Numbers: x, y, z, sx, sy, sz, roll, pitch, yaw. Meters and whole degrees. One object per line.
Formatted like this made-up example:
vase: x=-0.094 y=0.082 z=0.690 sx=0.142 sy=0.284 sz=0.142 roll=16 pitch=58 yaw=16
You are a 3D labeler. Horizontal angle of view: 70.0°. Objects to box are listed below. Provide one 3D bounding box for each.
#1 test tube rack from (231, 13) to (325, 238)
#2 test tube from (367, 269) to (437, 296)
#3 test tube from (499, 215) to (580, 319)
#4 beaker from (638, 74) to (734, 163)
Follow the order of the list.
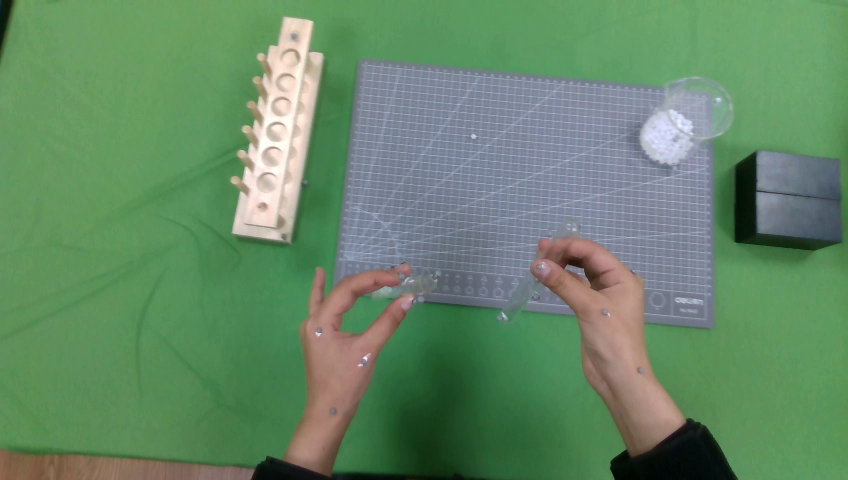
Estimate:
test tube rack: x=-0.174 y=-0.132 z=0.701 sx=0.067 sy=0.085 sz=0.241 roll=8 pitch=79 yaw=1
test tube: x=-0.024 y=0.039 z=0.533 sx=0.017 sy=0.150 sz=0.017 roll=3 pitch=82 yaw=-21
test tube: x=0.097 y=0.027 z=0.523 sx=0.017 sy=0.151 sz=0.017 roll=9 pitch=52 yaw=-11
beaker: x=0.297 y=-0.139 z=0.708 sx=0.083 sy=0.100 sz=0.074 roll=42 pitch=80 yaw=8
